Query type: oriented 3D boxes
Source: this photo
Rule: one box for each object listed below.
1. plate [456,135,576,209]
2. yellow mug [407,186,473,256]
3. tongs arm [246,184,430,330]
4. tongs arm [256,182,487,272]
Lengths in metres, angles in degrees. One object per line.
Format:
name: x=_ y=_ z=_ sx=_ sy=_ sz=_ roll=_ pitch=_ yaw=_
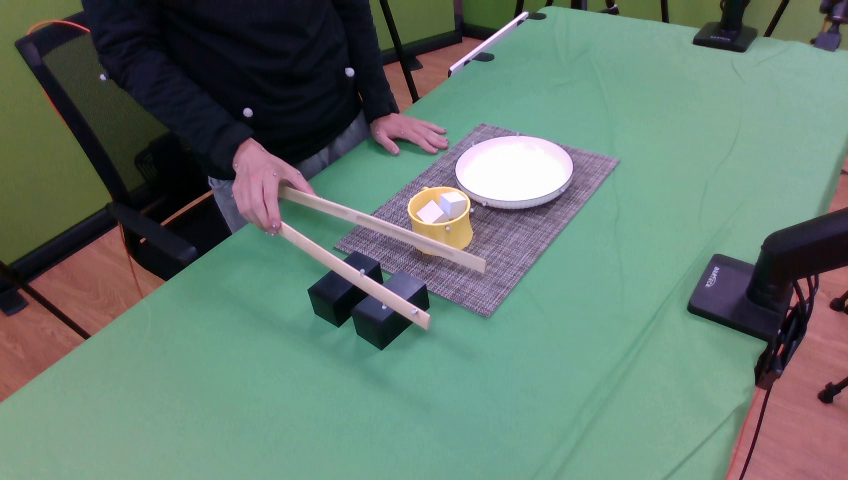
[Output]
plate: x=0.161 y=-0.116 z=1.064 sx=0.207 sy=0.039 sz=0.206 roll=-4 pitch=40 yaw=4
yellow mug: x=0.021 y=-0.041 z=0.973 sx=0.100 sy=0.064 sz=0.129 roll=-19 pitch=41 yaw=-12
tongs arm: x=-0.130 y=0.013 z=0.848 sx=0.382 sy=0.026 sz=0.051 roll=28 pitch=46 yaw=27
tongs arm: x=-0.086 y=-0.024 z=0.900 sx=0.385 sy=0.028 sz=0.028 roll=19 pitch=46 yaw=18
